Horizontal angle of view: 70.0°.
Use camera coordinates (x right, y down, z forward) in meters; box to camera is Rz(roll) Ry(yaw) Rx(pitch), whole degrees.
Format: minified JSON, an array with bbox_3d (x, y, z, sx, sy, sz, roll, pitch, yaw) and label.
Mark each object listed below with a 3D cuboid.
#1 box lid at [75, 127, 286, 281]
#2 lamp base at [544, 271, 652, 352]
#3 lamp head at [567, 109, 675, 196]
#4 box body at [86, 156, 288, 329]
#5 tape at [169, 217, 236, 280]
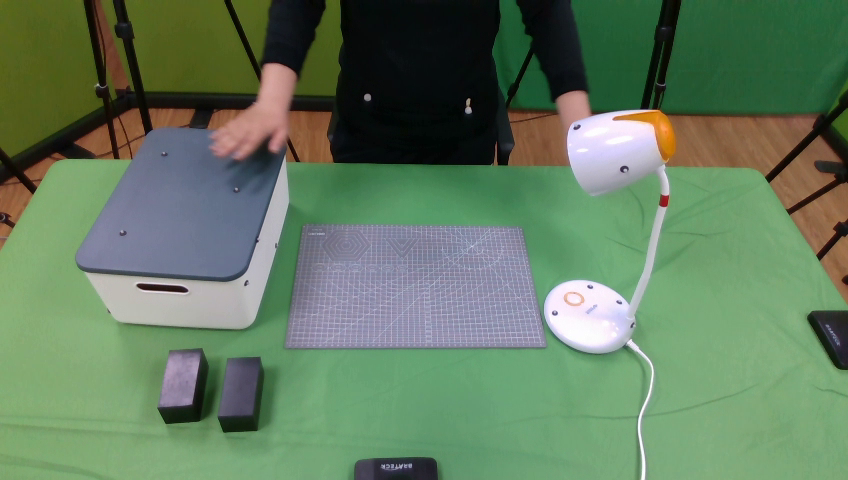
[{"bbox_3d":[-0.398,-0.075,1.039,0.263,0.015,0.369,4,45,-1],"label":"box lid"},{"bbox_3d":[0.309,0.086,1.029,0.178,0.181,0.160,32,52,21],"label":"lamp base"},{"bbox_3d":[0.272,-0.123,0.818,0.122,0.113,0.112,-9,35,37],"label":"lamp head"},{"bbox_3d":[-0.401,-0.025,1.094,0.254,0.161,0.362,3,46,-1],"label":"box body"},{"bbox_3d":[-0.409,0.015,1.122,0.117,0.053,0.116,2,46,-2],"label":"tape"}]
